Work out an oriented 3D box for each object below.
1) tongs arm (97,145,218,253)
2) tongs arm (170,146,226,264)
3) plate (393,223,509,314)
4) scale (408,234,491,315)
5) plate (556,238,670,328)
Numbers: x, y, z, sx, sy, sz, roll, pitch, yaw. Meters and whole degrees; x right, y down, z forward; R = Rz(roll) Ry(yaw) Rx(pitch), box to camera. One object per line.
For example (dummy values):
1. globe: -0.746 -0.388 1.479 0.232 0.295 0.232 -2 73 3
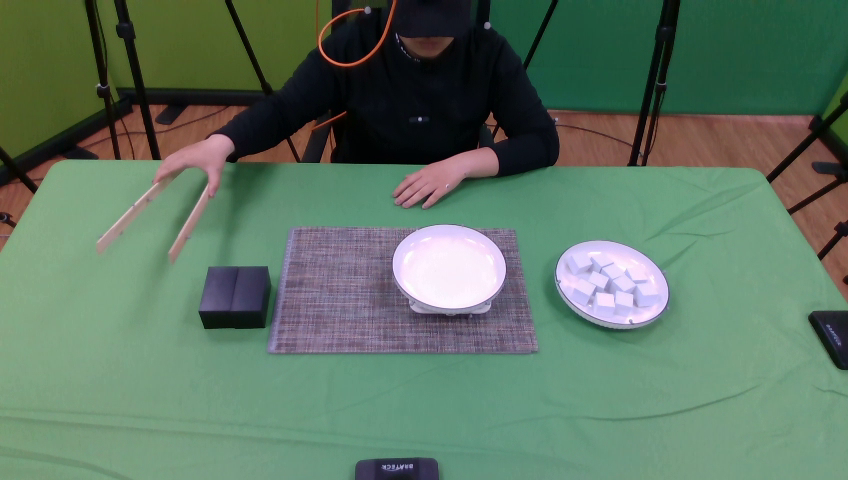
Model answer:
1. tongs arm: -0.488 -0.089 1.145 0.051 0.026 0.383 8 34 2
2. tongs arm: -0.422 -0.080 1.147 0.028 0.028 0.385 1 35 -3
3. plate: 0.048 0.053 1.092 0.208 0.039 0.206 1 46 -1
4. scale: 0.045 0.055 1.135 0.149 0.032 0.199 1 46 -3
5. plate: 0.347 0.083 1.130 0.209 0.038 0.208 2 47 -2
